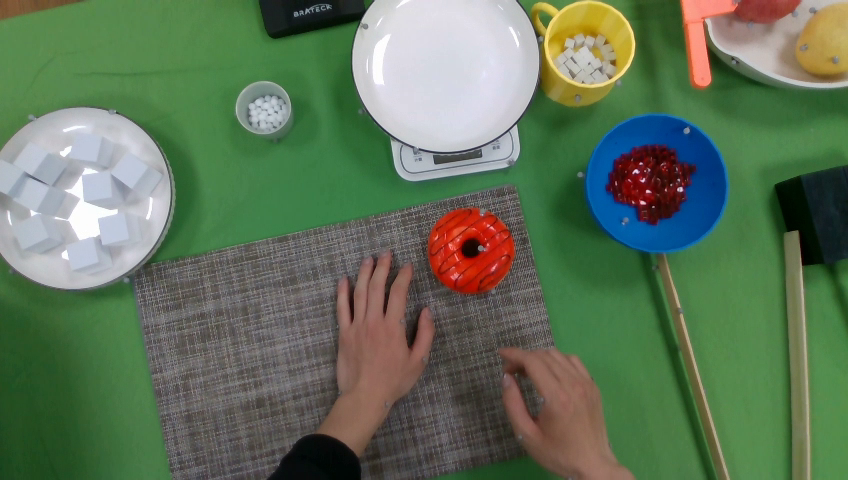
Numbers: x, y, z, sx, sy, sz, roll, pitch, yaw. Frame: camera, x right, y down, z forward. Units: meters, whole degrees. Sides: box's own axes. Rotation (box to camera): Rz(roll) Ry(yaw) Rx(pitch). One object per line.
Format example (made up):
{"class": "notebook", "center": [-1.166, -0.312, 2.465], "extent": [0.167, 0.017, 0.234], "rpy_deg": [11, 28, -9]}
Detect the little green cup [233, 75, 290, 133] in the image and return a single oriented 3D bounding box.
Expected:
{"class": "little green cup", "center": [-0.183, -0.153, 0.693], "extent": [0.061, 0.038, 0.061], "rpy_deg": [0, 85, 0]}

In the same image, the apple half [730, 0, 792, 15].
{"class": "apple half", "center": [0.383, -0.288, 0.693], "extent": [0.081, 0.074, 0.053], "rpy_deg": [29, 88, -1]}

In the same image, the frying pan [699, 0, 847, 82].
{"class": "frying pan", "center": [0.497, -0.240, 0.680], "extent": [0.307, 0.103, 0.485], "rpy_deg": [-40, 79, -3]}

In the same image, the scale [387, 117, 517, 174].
{"class": "scale", "center": [0.023, -0.184, 0.703], "extent": [0.149, 0.031, 0.200], "rpy_deg": [-9, 86, -2]}

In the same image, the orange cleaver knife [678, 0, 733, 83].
{"class": "orange cleaver knife", "center": [0.301, -0.278, 0.662], "extent": [0.077, 0.012, 0.211], "rpy_deg": [-8, 86, 1]}

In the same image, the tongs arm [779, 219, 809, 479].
{"class": "tongs arm", "center": [0.413, 0.169, 0.685], "extent": [0.028, 0.028, 0.386], "rpy_deg": [2, 86, -9]}

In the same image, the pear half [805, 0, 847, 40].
{"class": "pear half", "center": [0.476, -0.259, 0.684], "extent": [0.070, 0.088, 0.031], "rpy_deg": [18, 85, 7]}

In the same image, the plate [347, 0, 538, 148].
{"class": "plate", "center": [0.021, -0.202, 0.671], "extent": [0.209, 0.038, 0.208], "rpy_deg": [0, 85, -2]}

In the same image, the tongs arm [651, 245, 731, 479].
{"class": "tongs arm", "center": [0.328, 0.181, 0.678], "extent": [0.051, 0.026, 0.384], "rpy_deg": [-13, 87, -7]}

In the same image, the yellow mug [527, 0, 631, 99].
{"class": "yellow mug", "center": [0.166, -0.231, 0.692], "extent": [0.130, 0.064, 0.100], "rpy_deg": [44, 87, 4]}

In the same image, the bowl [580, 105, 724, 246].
{"class": "bowl", "center": [0.241, -0.065, 0.674], "extent": [0.151, 0.077, 0.151], "rpy_deg": [0, 86, -1]}

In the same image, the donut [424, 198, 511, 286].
{"class": "donut", "center": [0.048, 0.002, 0.678], "extent": [0.099, 0.048, 0.099], "rpy_deg": [0, 86, 1]}

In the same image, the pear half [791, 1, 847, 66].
{"class": "pear half", "center": [0.459, -0.229, 0.672], "extent": [0.076, 0.110, 0.056], "rpy_deg": [23, 85, 5]}

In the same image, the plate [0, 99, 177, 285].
{"class": "plate", "center": [-0.380, -0.053, 0.681], "extent": [0.208, 0.039, 0.207], "rpy_deg": [0, 85, -1]}
